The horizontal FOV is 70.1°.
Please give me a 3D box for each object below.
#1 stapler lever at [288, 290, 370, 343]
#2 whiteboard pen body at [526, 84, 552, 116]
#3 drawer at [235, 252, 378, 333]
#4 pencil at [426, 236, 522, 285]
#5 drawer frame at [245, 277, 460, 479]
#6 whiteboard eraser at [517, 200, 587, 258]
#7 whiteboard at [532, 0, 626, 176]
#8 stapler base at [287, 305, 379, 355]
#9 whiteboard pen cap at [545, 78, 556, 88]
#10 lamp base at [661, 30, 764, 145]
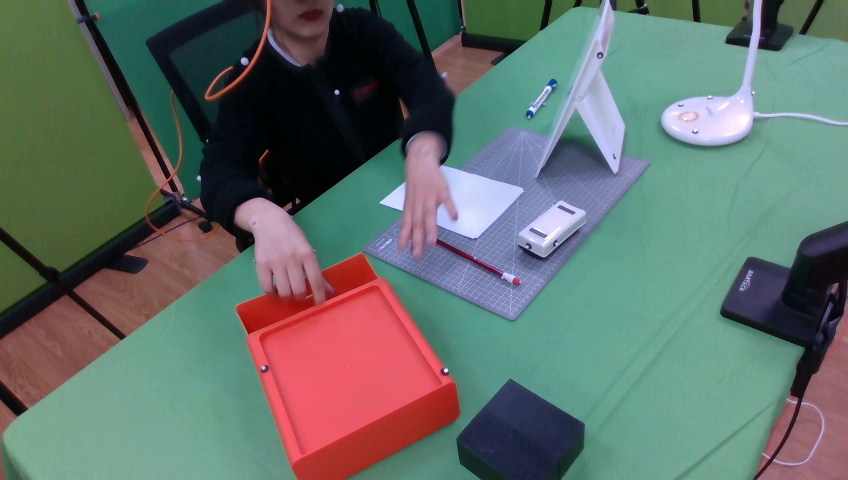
[{"bbox_3d":[-0.132,0.104,0.837,0.118,0.040,0.026,-21,52,-11],"label":"stapler lever"},{"bbox_3d":[0.251,-0.305,1.297,0.017,0.017,0.141,15,45,26],"label":"whiteboard pen body"},{"bbox_3d":[-0.125,0.133,0.805,0.195,0.073,0.210,-23,43,-17],"label":"drawer"},{"bbox_3d":[0.072,0.028,0.941,0.192,0.012,0.012,27,52,37],"label":"pencil"},{"bbox_3d":[-0.093,0.167,0.755,0.202,0.083,0.211,-23,43,-17],"label":"drawer frame"},{"bbox_3d":[0.200,-0.016,0.943,0.113,0.042,0.055,-36,46,-29],"label":"whiteboard eraser"},{"bbox_3d":[0.321,-0.258,1.049,0.144,0.306,0.217,21,45,5],"label":"whiteboard"},{"bbox_3d":[-0.130,0.122,0.860,0.131,0.024,0.041,-19,51,-14],"label":"stapler base"},{"bbox_3d":[0.280,-0.344,1.335,0.018,0.018,0.033,15,45,26],"label":"whiteboard pen cap"},{"bbox_3d":[0.535,-0.287,1.096,0.179,0.181,0.159,-10,40,-4],"label":"lamp base"}]
